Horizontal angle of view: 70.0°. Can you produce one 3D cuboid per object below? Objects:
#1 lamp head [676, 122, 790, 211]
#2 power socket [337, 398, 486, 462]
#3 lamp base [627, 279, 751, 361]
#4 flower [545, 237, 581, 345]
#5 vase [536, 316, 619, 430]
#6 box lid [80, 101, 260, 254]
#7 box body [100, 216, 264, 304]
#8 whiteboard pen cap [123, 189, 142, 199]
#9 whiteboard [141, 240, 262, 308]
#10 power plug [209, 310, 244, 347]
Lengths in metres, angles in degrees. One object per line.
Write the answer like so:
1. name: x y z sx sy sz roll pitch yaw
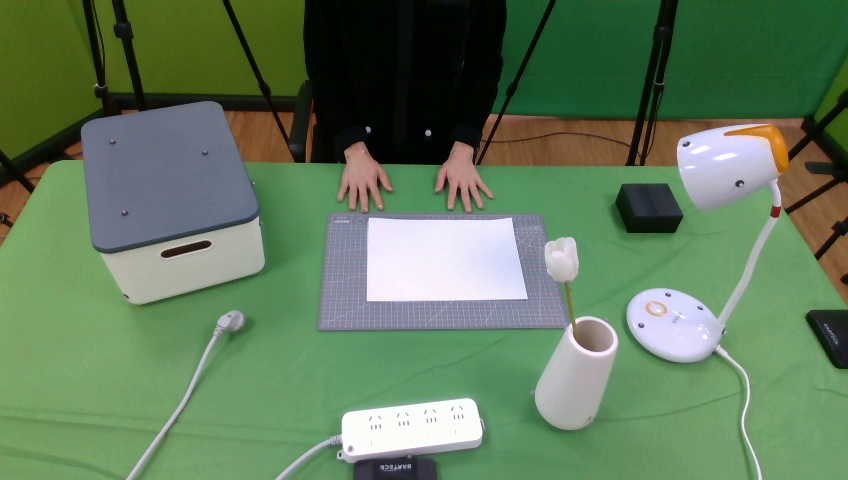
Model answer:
1. lamp head: 0.423 -0.104 0.819 0.122 0.113 0.112 -13 33 40
2. power socket: -0.017 0.286 0.914 0.227 0.033 0.071 -4 46 -8
3. lamp base: 0.460 0.100 1.027 0.178 0.181 0.160 27 51 17
4. flower: 0.213 0.137 0.846 0.038 0.364 0.044 21 55 40
5. vase: 0.229 0.200 0.901 0.098 0.201 0.097 3 46 -3
6. box lid: -0.461 -0.127 1.082 0.264 0.015 0.369 -15 49 -19
7. box body: -0.465 -0.077 1.137 0.254 0.161 0.361 -16 50 -19
8. whiteboard pen cap: -0.591 -0.093 1.231 0.033 0.018 0.018 -13 49 -18
9. whiteboard: -0.464 -0.059 1.137 0.217 0.144 0.303 -19 51 -17
10. power plug: -0.334 0.148 1.019 0.035 0.053 0.072 36 75 23
